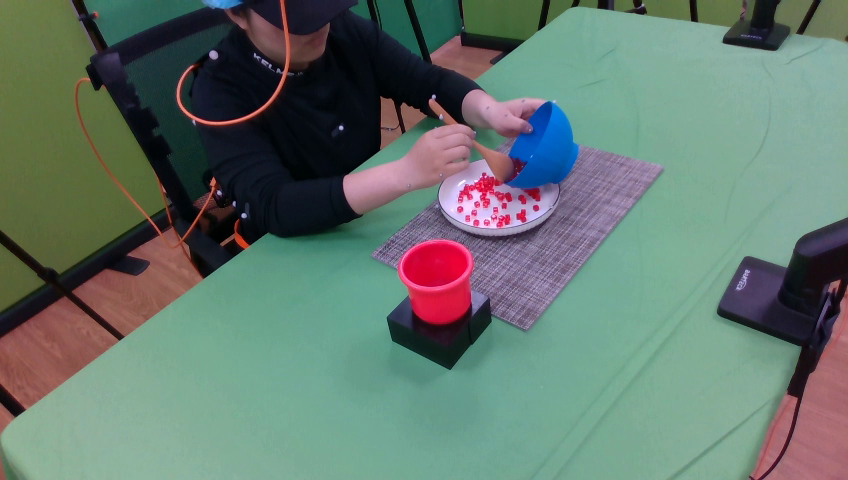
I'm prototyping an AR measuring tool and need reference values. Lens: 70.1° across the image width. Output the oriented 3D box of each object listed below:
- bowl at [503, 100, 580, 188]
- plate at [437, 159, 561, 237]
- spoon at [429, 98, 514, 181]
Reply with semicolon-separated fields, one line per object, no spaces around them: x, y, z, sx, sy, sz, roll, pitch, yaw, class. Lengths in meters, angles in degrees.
0.199;-0.141;0.980;0.077;0.151;0.151;26;42;-11;bowl
0.127;-0.069;1.023;0.207;0.039;0.206;-5;40;5;plate
0.075;-0.157;0.950;0.041;0.195;0.021;-56;24;-5;spoon
